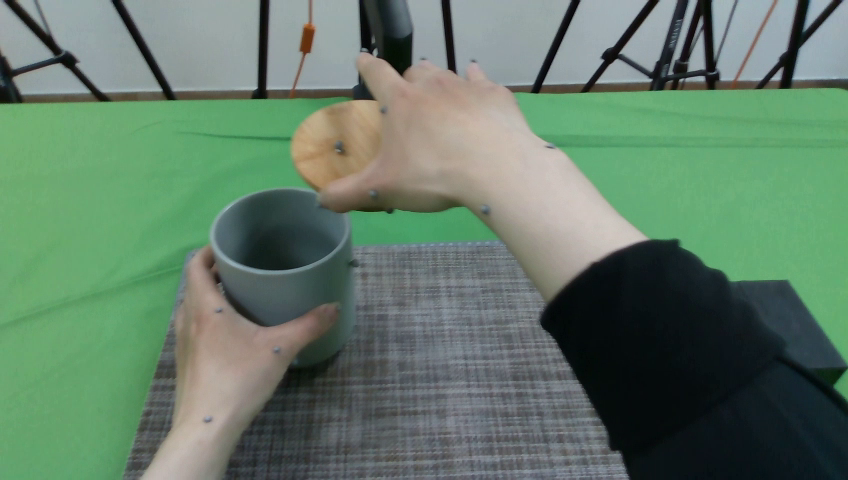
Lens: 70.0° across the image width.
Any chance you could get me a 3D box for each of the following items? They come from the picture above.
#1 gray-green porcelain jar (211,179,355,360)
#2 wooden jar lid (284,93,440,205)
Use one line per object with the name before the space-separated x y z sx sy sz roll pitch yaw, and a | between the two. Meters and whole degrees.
gray-green porcelain jar | -0.111 0.029 0.505 0.106 0.127 0.105 2 43 -2
wooden jar lid | -0.043 -0.064 0.428 0.108 0.021 0.107 5 50 -6
